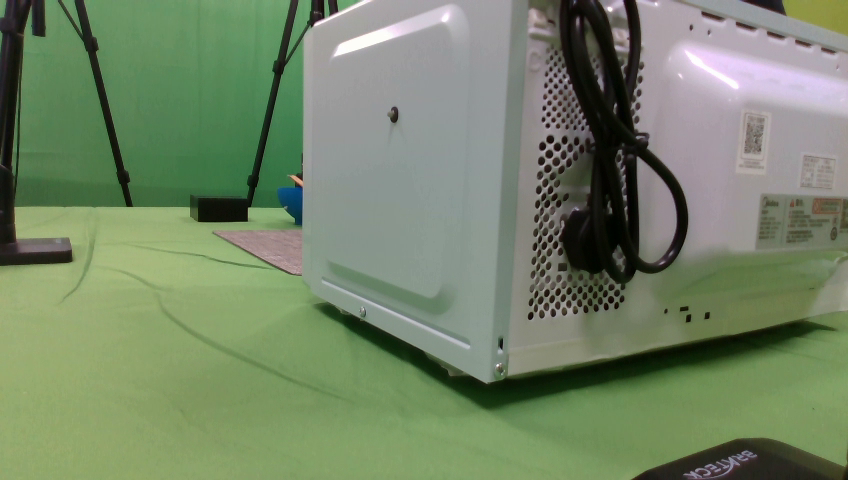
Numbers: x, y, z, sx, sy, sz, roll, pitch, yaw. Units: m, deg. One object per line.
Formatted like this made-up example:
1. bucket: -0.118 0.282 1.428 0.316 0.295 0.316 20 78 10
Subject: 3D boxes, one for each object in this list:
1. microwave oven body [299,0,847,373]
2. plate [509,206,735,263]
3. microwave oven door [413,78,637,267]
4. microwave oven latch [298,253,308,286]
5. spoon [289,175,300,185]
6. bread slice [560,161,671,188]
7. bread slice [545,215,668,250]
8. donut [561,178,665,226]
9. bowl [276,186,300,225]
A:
1. microwave oven body: 0.152 -0.055 0.542 0.444 0.260 0.324 -2 7 -33
2. plate: 0.186 -0.007 0.590 0.208 0.039 0.207 2 7 0
3. microwave oven door: 0.128 -0.104 0.889 0.354 0.243 0.039 8 10 41
4. microwave oven latch: -0.081 0.027 0.582 0.079 0.029 0.030 -1 7 -32
5. spoon: -0.261 -0.111 1.343 0.042 0.021 0.192 -8 33 -30
6. bread slice: 0.184 -0.063 0.580 0.105 0.019 0.132 5 5 14
7. bread slice: 0.180 -0.007 0.588 0.107 0.018 0.134 -6 -5 4
8. donut: 0.183 -0.037 0.588 0.099 0.048 0.099 0 3 0
9. bowl: -0.241 -0.073 1.302 0.151 0.077 0.151 2 7 0
